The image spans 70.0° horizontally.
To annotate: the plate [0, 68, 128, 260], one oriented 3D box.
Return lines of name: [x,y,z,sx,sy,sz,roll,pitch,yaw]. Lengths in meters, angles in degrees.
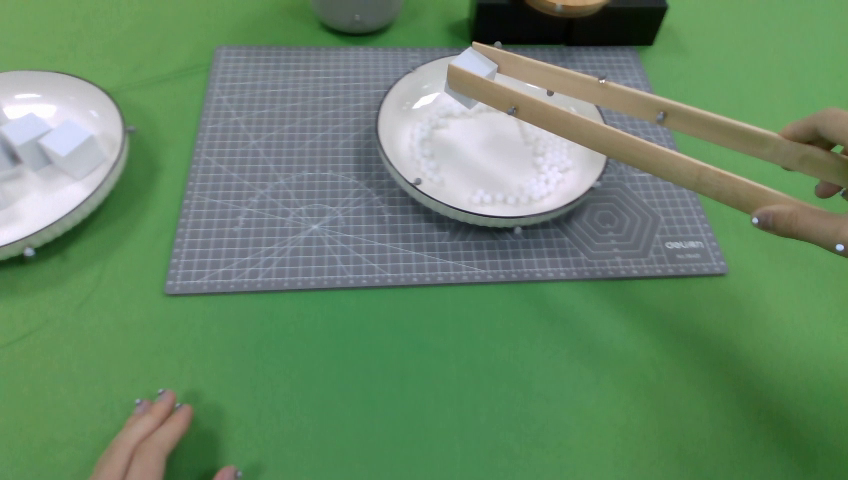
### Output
plate: [-0.351,-0.061,0.500,0.208,0.039,0.205,2,54,-2]

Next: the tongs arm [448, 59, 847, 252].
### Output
tongs arm: [0.171,-0.058,0.416,0.384,0.028,0.028,29,55,27]

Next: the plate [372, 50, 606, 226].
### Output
plate: [0.057,-0.093,0.548,0.209,0.038,0.207,2,54,-2]

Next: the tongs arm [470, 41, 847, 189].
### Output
tongs arm: [0.185,-0.072,0.426,0.382,0.027,0.050,25,57,25]

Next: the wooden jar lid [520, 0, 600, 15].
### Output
wooden jar lid: [0.139,-0.271,0.634,0.108,0.021,0.107,2,55,-3]

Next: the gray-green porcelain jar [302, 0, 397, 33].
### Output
gray-green porcelain jar: [-0.079,-0.292,0.630,0.106,0.127,0.105,2,54,-2]
